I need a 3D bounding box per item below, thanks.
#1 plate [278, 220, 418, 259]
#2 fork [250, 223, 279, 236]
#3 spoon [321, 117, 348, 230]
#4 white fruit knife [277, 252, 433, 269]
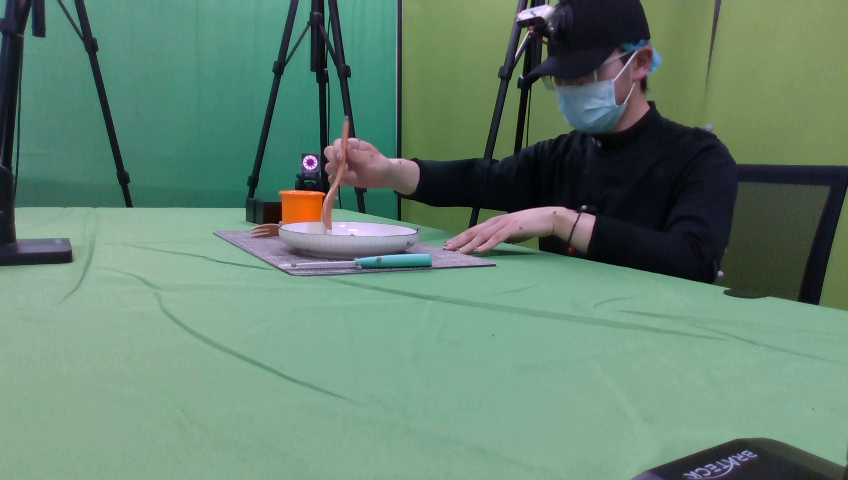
[{"bbox_3d":[-0.114,-0.002,0.914,0.209,0.038,0.209,2,7,0],"label":"plate"},{"bbox_3d":[-0.194,-0.014,1.051,0.208,0.028,0.018,3,37,-14],"label":"fork"},{"bbox_3d":[-0.143,-0.110,0.990,0.021,0.193,0.042,10,-12,10],"label":"spoon"},{"bbox_3d":[-0.082,0.029,0.772,0.208,0.016,0.027,-3,-20,-22],"label":"white fruit knife"}]
